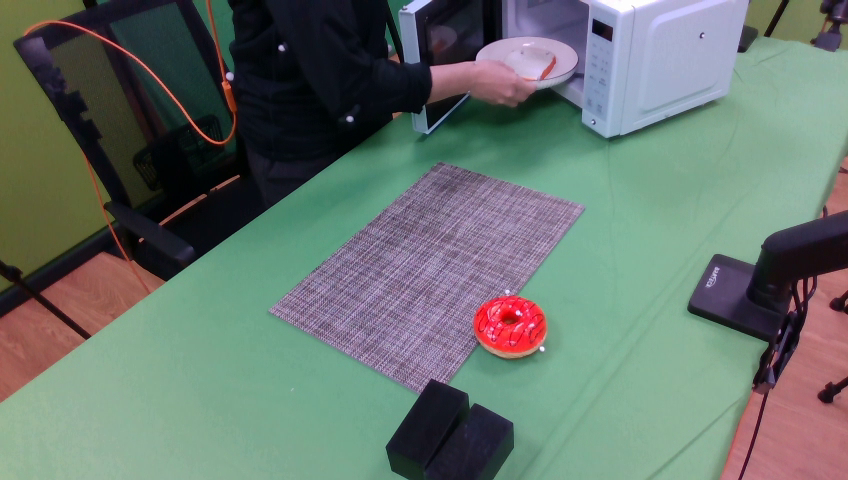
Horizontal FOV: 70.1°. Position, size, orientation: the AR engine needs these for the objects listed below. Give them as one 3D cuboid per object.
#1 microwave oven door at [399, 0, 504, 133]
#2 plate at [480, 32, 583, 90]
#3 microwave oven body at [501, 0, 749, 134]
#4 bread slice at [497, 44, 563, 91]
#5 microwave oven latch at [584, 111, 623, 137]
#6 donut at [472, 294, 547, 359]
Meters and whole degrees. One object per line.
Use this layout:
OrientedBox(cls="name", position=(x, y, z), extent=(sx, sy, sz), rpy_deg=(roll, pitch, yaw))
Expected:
OrientedBox(cls="microwave oven door", position=(0.071, -0.414, 1.245), extent=(0.039, 0.245, 0.356), rpy_deg=(17, 47, 27))
OrientedBox(cls="plate", position=(0.217, -0.360, 1.232), extent=(0.208, 0.039, 0.206), rpy_deg=(2, 44, -1))
OrientedBox(cls="microwave oven body", position=(0.382, -0.444, 1.246), extent=(0.327, 0.261, 0.437), rpy_deg=(-22, 42, -16))
OrientedBox(cls="bread slice", position=(0.223, -0.360, 1.240), extent=(0.104, 0.019, 0.132), rpy_deg=(27, 55, 20))
OrientedBox(cls="microwave oven latch", position=(0.337, -0.222, 1.142), extent=(0.030, 0.029, 0.078), rpy_deg=(-21, 42, -14))
OrientedBox(cls="donut", position=(0.114, 0.114, 0.803), extent=(0.099, 0.048, 0.098), rpy_deg=(0, 40, 1))
